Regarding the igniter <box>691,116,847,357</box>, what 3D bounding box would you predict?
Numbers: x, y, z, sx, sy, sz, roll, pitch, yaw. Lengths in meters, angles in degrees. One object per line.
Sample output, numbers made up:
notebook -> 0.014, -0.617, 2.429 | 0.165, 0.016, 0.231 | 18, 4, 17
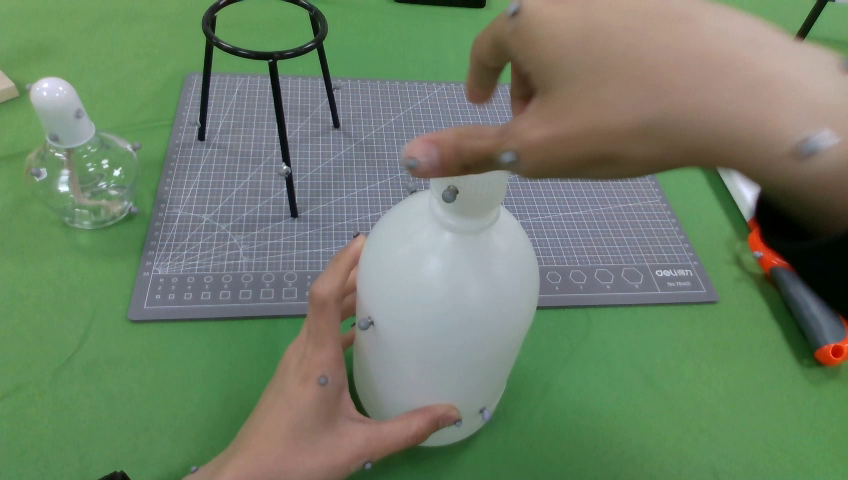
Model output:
igniter -> 0.303, -0.017, 0.542 | 0.057, 0.025, 0.273 | 8, 48, -16

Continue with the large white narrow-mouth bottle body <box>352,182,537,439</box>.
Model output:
large white narrow-mouth bottle body -> 0.010, 0.030, 0.344 | 0.102, 0.196, 0.101 | 4, 49, -4

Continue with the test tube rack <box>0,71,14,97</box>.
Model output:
test tube rack -> -0.475, -0.122, 0.470 | 0.066, 0.086, 0.242 | 38, 54, 22

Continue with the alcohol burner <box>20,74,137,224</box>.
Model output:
alcohol burner -> -0.255, -0.069, 0.441 | 0.078, 0.120, 0.077 | 6, 47, -6

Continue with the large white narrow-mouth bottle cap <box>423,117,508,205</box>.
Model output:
large white narrow-mouth bottle cap -> 0.019, -0.035, 0.271 | 0.038, 0.024, 0.037 | 4, 49, -4

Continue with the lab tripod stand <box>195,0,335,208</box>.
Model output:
lab tripod stand -> -0.123, -0.120, 0.489 | 0.149, 0.132, 0.147 | 6, 49, -6

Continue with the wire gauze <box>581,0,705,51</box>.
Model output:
wire gauze -> 0.236, -0.246, 0.679 | 0.122, 0.011, 0.123 | 1, 50, -10

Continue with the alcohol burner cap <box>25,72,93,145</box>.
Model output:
alcohol burner cap -> -0.251, -0.092, 0.413 | 0.034, 0.048, 0.033 | 3, 55, -5
